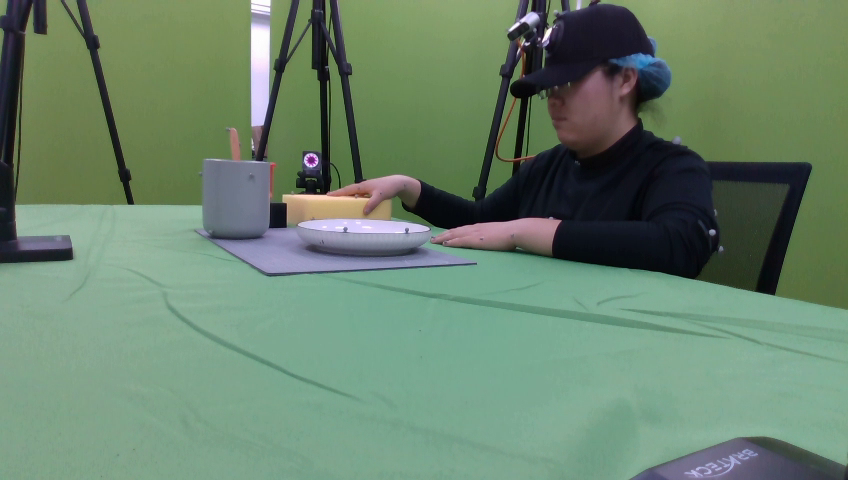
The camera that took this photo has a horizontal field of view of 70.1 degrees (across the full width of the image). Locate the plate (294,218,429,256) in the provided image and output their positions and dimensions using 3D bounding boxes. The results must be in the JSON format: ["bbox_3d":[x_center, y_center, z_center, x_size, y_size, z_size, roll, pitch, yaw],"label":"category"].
[{"bbox_3d":[-0.096,-0.005,0.936,0.208,0.039,0.207,3,7,0],"label":"plate"}]

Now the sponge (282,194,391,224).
[{"bbox_3d":[-0.187,-0.065,1.306,0.208,0.061,0.117,-3,9,-37],"label":"sponge"}]

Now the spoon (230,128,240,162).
[{"bbox_3d":[-0.314,-0.109,1.025,0.042,0.193,0.021,-5,-19,-16],"label":"spoon"}]

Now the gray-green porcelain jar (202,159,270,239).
[{"bbox_3d":[-0.310,-0.068,0.999,0.106,0.126,0.106,3,8,0],"label":"gray-green porcelain jar"}]
